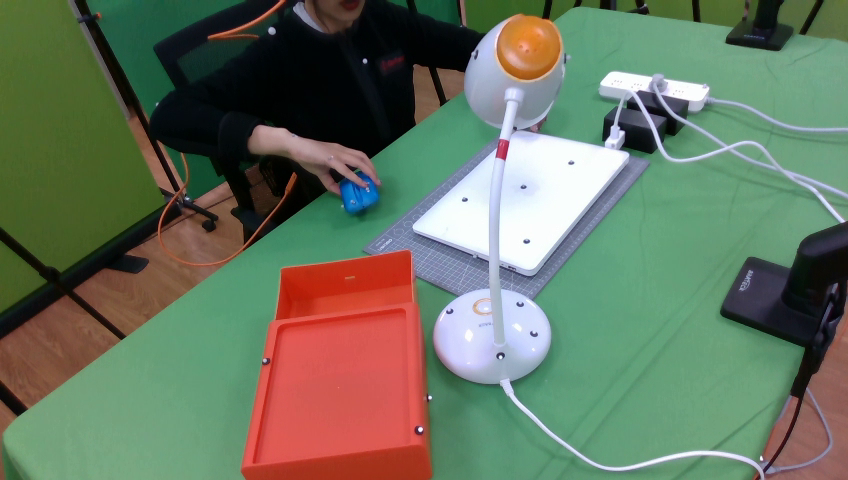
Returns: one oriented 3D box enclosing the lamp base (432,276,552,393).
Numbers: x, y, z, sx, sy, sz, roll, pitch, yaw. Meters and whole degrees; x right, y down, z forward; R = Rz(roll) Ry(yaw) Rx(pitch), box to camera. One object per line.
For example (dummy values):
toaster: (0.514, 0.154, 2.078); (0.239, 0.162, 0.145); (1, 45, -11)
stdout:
lamp base: (0.085, 0.075, 0.756); (0.161, 0.181, 0.178); (-14, 44, -6)

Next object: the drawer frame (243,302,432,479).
drawer frame: (-0.096, 0.185, 0.738); (0.202, 0.083, 0.212); (-8, 40, 1)

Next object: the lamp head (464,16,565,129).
lamp head: (0.101, -0.184, 0.655); (0.112, 0.112, 0.123); (-9, 0, 0)

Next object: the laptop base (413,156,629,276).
laptop base: (0.176, -0.077, 1.048); (0.233, 0.023, 0.355); (19, 47, 34)

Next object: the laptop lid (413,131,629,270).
laptop lid: (0.172, -0.087, 1.042); (0.239, 0.013, 0.357); (21, 48, 34)

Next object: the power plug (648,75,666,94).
power plug: (0.457, -0.301, 1.212); (0.073, 0.053, 0.035); (-36, 47, -28)

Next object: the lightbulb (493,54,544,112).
lightbulb: (0.109, -0.181, 0.679); (0.059, 0.059, 0.107); (-10, -3, 0)

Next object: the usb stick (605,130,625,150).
usb stick: (0.348, -0.175, 1.110); (0.021, 0.027, 0.059); (19, 52, 29)

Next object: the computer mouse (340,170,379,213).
computer mouse: (-0.117, -0.090, 1.086); (0.063, 0.041, 0.116); (-23, 30, 1)

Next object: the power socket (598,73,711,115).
power socket: (0.470, -0.303, 1.249); (0.225, 0.033, 0.072); (20, 49, 30)

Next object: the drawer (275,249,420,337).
drawer: (-0.104, 0.117, 0.825); (0.194, 0.073, 0.210); (-8, 40, 1)
